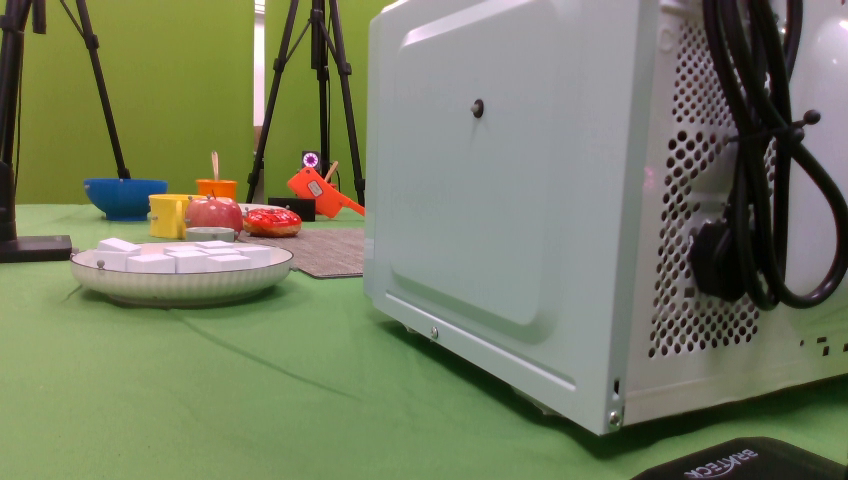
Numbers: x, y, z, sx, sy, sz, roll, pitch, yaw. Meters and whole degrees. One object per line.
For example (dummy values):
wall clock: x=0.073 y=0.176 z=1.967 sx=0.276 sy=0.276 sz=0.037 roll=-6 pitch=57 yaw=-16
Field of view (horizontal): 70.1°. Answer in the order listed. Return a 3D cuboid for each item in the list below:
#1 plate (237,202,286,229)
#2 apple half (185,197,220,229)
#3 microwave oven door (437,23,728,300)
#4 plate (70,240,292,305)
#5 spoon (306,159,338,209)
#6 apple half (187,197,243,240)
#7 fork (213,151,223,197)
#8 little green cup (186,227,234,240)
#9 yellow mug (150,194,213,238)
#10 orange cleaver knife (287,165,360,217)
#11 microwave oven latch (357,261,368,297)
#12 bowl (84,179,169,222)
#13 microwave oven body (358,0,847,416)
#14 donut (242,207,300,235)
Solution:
plate: x=-0.376 y=-0.048 z=1.184 sx=0.209 sy=0.038 sz=0.209 roll=2 pitch=8 yaw=0
apple half: x=-0.338 y=-0.031 z=0.927 sx=0.032 sy=0.081 sz=0.081 roll=12 pitch=12 yaw=31
microwave oven door: x=0.180 y=-0.072 z=0.621 sx=0.358 sy=0.243 sz=0.039 roll=-2 pitch=8 yaw=-29
plate: x=-0.242 y=0.031 z=0.618 sx=0.208 sy=0.039 sz=0.207 roll=2 pitch=8 yaw=0
spoon: x=-0.257 y=-0.147 z=1.567 sx=0.041 sy=0.022 sz=0.193 roll=2 pitch=51 yaw=20
apple half: x=-0.305 y=-0.026 z=0.907 sx=0.053 sy=0.074 sz=0.081 roll=12 pitch=8 yaw=31
fork: x=-0.494 y=-0.143 z=1.442 sx=0.028 sy=0.018 sz=0.206 roll=-1 pitch=52 yaw=-21
little green cup: x=-0.284 y=0.005 z=0.805 sx=0.061 sy=0.038 sz=0.061 roll=2 pitch=8 yaw=0
yellow mug: x=-0.401 y=-0.040 z=1.003 sx=0.100 sy=0.064 sz=0.130 roll=-1 pitch=9 yaw=-20
orange cleaver knife: x=-0.211 y=-0.093 z=1.382 sx=0.212 sy=0.077 sz=0.012 roll=33 pitch=1 yaw=-15
microwave oven latch: x=-0.019 y=0.033 z=0.531 sx=0.079 sy=0.029 sz=0.030 roll=-1 pitch=7 yaw=-28
bowl: x=-0.584 y=-0.078 z=1.194 sx=0.151 sy=0.077 sz=0.151 roll=3 pitch=8 yaw=0
microwave oven body: x=0.211 y=-0.047 z=0.474 sx=0.444 sy=0.260 sz=0.324 roll=-1 pitch=7 yaw=-28
donut: x=-0.263 y=-0.032 z=1.039 sx=0.099 sy=0.048 sz=0.099 roll=4 pitch=9 yaw=0
